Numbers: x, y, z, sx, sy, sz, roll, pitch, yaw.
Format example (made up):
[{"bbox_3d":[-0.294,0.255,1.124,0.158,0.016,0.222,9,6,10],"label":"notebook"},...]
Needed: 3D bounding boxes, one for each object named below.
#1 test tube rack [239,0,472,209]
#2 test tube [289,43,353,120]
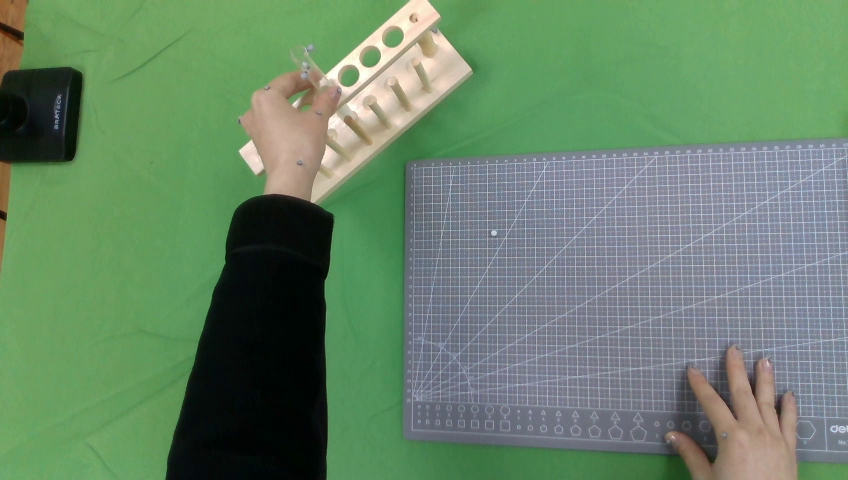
[{"bbox_3d":[-0.069,-0.139,0.641,0.242,0.085,0.066,-39,78,7],"label":"test tube rack"},{"bbox_3d":[-0.098,-0.151,0.598,0.017,0.151,0.017,-2,79,10],"label":"test tube"}]
